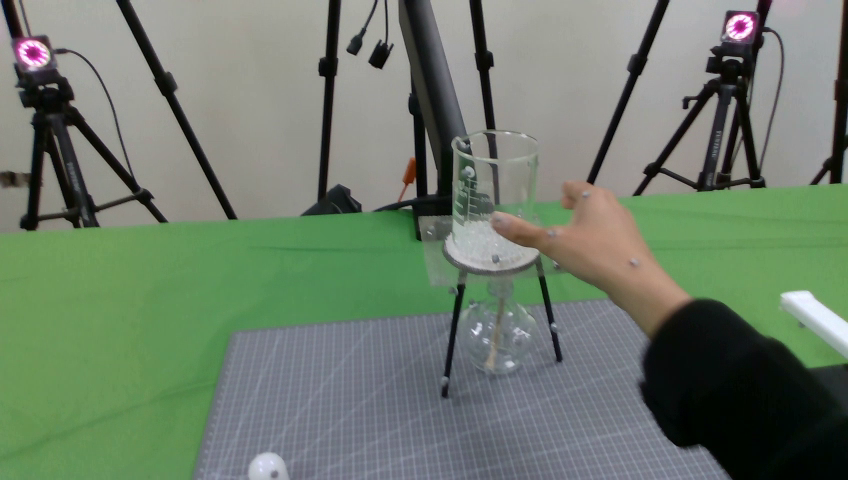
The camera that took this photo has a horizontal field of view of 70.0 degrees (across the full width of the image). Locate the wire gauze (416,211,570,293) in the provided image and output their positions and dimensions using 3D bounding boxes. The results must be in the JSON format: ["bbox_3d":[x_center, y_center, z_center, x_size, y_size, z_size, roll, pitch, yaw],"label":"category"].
[{"bbox_3d":[0.056,0.004,0.549,0.121,0.011,0.124,-4,32,-5],"label":"wire gauze"}]

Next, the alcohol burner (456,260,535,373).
[{"bbox_3d":[0.070,0.069,0.587,0.078,0.120,0.077,0,32,0],"label":"alcohol burner"}]

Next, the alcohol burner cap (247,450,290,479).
[{"bbox_3d":[-0.119,0.183,0.466,0.034,0.048,0.033,0,31,0],"label":"alcohol burner cap"}]

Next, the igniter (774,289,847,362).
[{"bbox_3d":[0.387,0.117,0.492,0.057,0.025,0.274,-6,27,-6],"label":"igniter"}]

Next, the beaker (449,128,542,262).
[{"bbox_3d":[0.056,-0.039,0.525,0.074,0.101,0.083,-23,36,-35],"label":"beaker"}]

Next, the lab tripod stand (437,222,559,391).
[{"bbox_3d":[0.062,0.059,0.585,0.148,0.132,0.147,1,29,0],"label":"lab tripod stand"}]
